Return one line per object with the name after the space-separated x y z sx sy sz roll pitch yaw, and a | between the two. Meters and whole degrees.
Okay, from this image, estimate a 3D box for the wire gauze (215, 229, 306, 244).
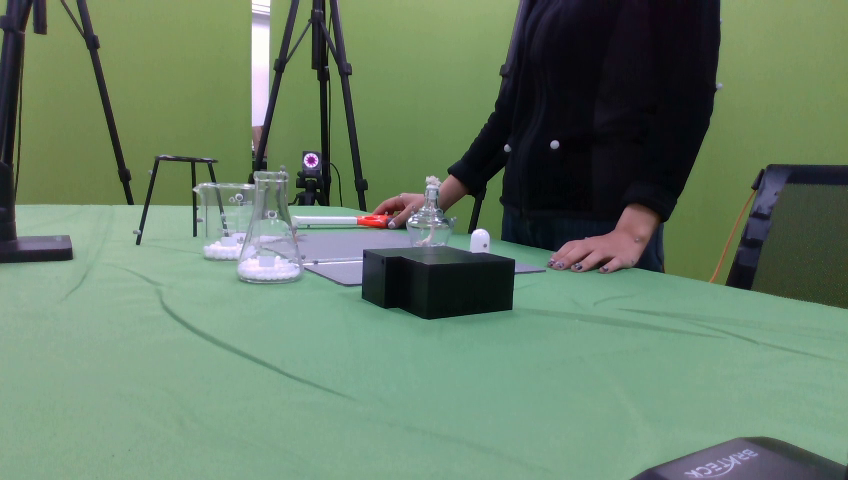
-0.273 -0.009 1.013 0.122 0.011 0.124 -2 9 -33 | wire gauze

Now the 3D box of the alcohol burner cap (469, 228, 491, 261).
0.082 0.006 0.878 0.034 0.048 0.034 3 7 0 | alcohol burner cap

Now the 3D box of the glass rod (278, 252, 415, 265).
-0.097 0.024 0.805 0.201 0.008 0.008 -3 8 -33 | glass rod

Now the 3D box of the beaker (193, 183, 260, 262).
-0.262 -0.025 0.806 0.084 0.100 0.073 -3 9 -30 | beaker

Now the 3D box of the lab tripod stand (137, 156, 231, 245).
-0.358 -0.061 0.927 0.148 0.131 0.148 4 6 0 | lab tripod stand

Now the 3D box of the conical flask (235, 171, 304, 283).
-0.172 -0.016 0.677 0.075 0.122 0.075 2 7 0 | conical flask

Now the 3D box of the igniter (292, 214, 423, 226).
-0.131 -0.041 1.246 0.278 0.025 0.057 -1 9 -27 | igniter

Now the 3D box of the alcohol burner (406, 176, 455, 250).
0.012 -0.044 0.963 0.078 0.119 0.078 4 7 0 | alcohol burner
